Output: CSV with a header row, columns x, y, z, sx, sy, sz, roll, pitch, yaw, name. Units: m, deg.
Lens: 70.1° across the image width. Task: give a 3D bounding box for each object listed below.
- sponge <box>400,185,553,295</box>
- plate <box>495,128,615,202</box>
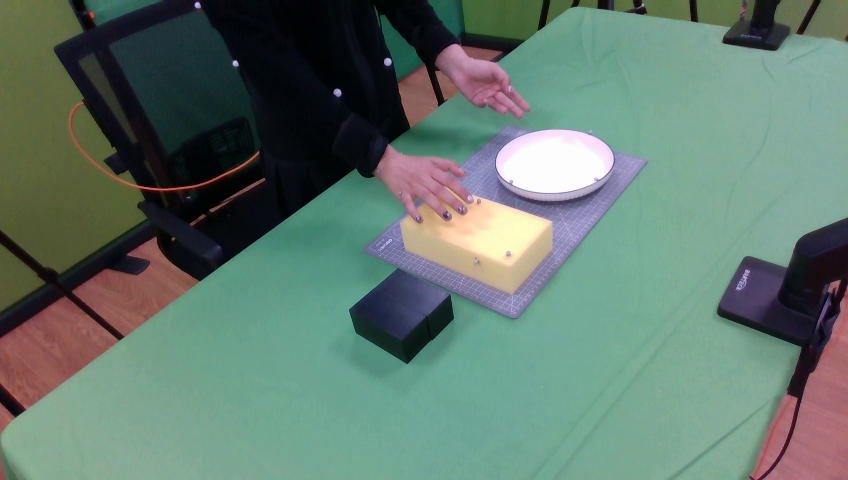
x,y,z,sx,sy,sz,roll,pitch,yaw,name
0.081,-0.005,0.940,0.205,0.061,0.118,22,49,31,sponge
0.231,-0.130,1.077,0.209,0.038,0.208,-5,40,5,plate
